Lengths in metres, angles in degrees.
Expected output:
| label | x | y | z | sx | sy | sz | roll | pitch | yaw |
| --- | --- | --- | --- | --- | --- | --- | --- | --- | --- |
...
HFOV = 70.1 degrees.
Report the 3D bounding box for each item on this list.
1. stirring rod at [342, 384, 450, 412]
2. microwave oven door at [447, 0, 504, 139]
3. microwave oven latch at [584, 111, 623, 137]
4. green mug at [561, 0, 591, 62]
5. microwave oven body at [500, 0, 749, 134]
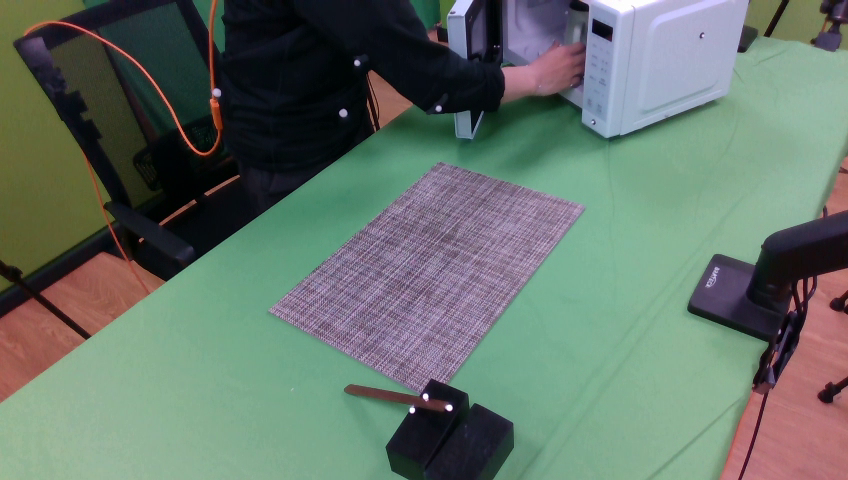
| label | x | y | z | sx | sy | sz | roll | pitch | yaw |
| --- | --- | --- | --- | --- | --- | --- | --- | --- | --- |
| stirring rod | -0.038 | 0.186 | 0.714 | 0.175 | 0.006 | 0.014 | -3 | 22 | 43 |
| microwave oven door | 0.112 | -0.404 | 1.229 | 0.039 | 0.245 | 0.355 | 6 | 42 | 15 |
| microwave oven latch | 0.337 | -0.222 | 1.142 | 0.030 | 0.029 | 0.078 | -21 | 42 | -14 |
| green mug | 0.334 | -0.431 | 1.270 | 0.092 | 0.105 | 0.125 | 13 | 44 | 18 |
| microwave oven body | 0.382 | -0.444 | 1.246 | 0.327 | 0.261 | 0.437 | -22 | 42 | -16 |
